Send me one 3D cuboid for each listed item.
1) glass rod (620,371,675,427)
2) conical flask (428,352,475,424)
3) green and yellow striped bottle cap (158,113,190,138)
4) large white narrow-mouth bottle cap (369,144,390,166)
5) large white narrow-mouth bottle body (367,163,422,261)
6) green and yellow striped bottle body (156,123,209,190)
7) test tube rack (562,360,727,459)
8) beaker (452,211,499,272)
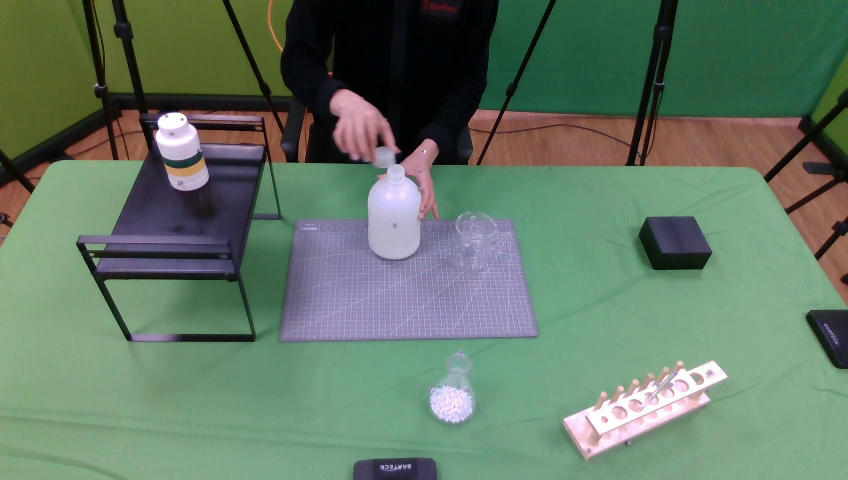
[{"bbox_3d":[0.316,0.230,0.863,0.008,0.200,0.008,3,54,-3],"label":"glass rod"},{"bbox_3d":[0.046,0.220,0.920,0.075,0.122,0.075,2,46,-2],"label":"conical flask"},{"bbox_3d":[-0.393,-0.180,0.951,0.045,0.020,0.045,2,44,-2],"label":"green and yellow striped bottle cap"},{"bbox_3d":[-0.075,-0.145,1.032,0.038,0.024,0.037,3,45,-3],"label":"large white narrow-mouth bottle cap"},{"bbox_3d":[-0.055,-0.058,1.128,0.102,0.195,0.101,3,45,-3],"label":"large white narrow-mouth bottle body"},{"bbox_3d":[-0.395,-0.145,0.989,0.063,0.120,0.063,2,46,-2],"label":"green and yellow striped bottle body"},{"bbox_3d":[0.341,0.247,0.940,0.243,0.085,0.066,-16,49,-18],"label":"test tube rack"},{"bbox_3d":[0.093,0.006,1.141,0.084,0.101,0.073,8,46,3],"label":"beaker"}]
